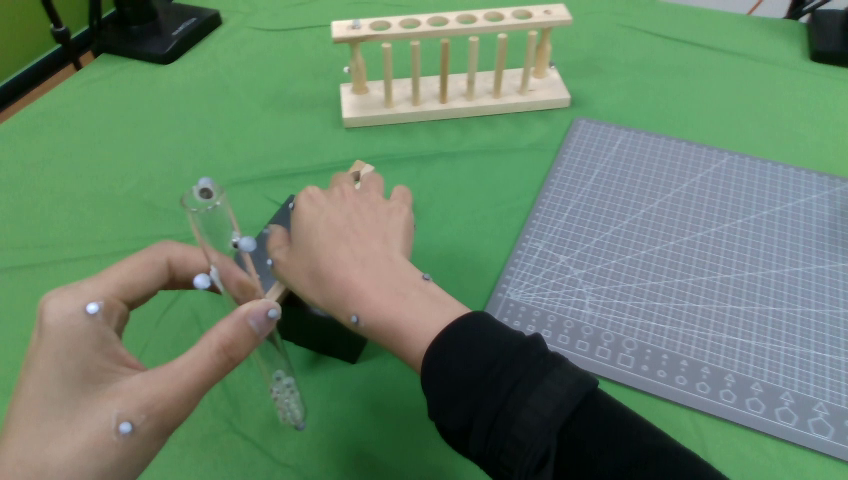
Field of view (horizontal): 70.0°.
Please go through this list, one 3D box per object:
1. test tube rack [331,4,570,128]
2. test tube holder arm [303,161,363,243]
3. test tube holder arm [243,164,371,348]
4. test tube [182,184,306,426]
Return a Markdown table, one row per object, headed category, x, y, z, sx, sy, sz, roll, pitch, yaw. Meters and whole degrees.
| category | x | y | z | sx | sy | sz | roll | pitch | yaw |
| --- | --- | --- | --- | --- | --- | --- | --- | --- | --- |
| test tube rack | 0.030 | -0.183 | 0.635 | 0.243 | 0.086 | 0.066 | -6 | 47 | -5 |
| test tube holder arm | -0.070 | -0.030 | 0.473 | 0.010 | 0.015 | 0.087 | 19 | 51 | 11 |
| test tube holder arm | -0.080 | 0.004 | 0.444 | 0.013 | 0.015 | 0.177 | 18 | 51 | 10 |
| test tube | -0.073 | 0.039 | 0.265 | 0.017 | 0.151 | 0.017 | -3 | 43 | 3 |
